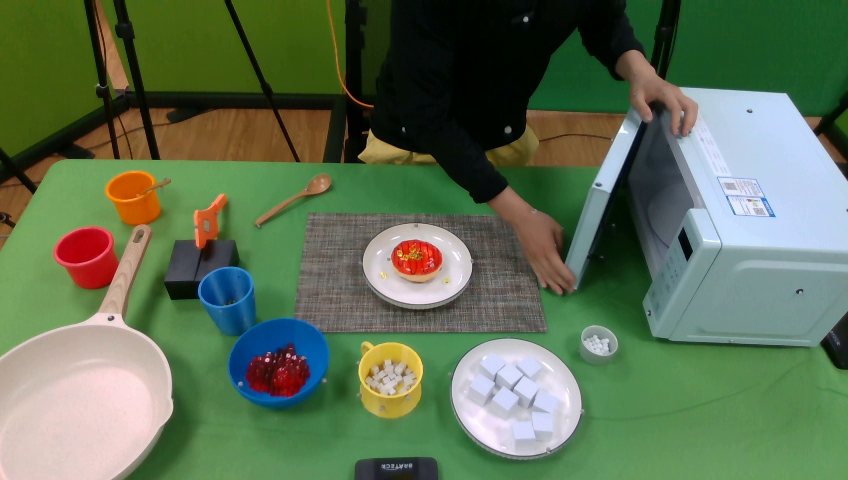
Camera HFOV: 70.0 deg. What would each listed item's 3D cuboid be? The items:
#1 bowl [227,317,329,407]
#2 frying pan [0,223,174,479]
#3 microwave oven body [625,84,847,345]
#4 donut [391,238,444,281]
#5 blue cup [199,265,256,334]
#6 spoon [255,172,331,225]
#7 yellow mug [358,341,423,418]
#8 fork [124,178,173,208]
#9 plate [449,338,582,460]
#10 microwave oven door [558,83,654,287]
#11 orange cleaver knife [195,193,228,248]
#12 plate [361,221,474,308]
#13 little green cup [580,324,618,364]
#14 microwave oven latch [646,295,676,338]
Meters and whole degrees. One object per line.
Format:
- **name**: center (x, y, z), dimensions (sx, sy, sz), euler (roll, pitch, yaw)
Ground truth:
- **bowl**: center (-0.222, 0.203, 0.947), dimensions (0.151, 0.077, 0.150), euler (2, 46, -2)
- **frying pan**: center (-0.505, 0.169, 0.941), dimensions (0.307, 0.103, 0.485), euler (5, 54, -1)
- **microwave oven body**: center (0.568, -0.054, 1.116), dimensions (0.326, 0.261, 0.439), euler (2, 46, -1)
- **donut**: center (-0.012, 0.035, 1.128), dimensions (0.099, 0.048, 0.098), euler (3, 43, -3)
- **blue cup**: center (-0.321, 0.106, 1.015), dimensions (0.093, 0.101, 0.092), euler (1, 48, -1)
- **spoon**: center (-0.272, -0.087, 1.257), dimensions (0.041, 0.022, 0.193), euler (44, 57, 14)
- **yellow mug**: center (-0.063, 0.210, 0.961), dimensions (0.100, 0.064, 0.130), euler (-29, 54, -28)
- **fork**: center (-0.525, -0.090, 1.154), dimensions (0.207, 0.019, 0.028), euler (-17, 27, 45)
- **plate**: center (0.141, 0.251, 0.956), dimensions (0.208, 0.039, 0.206), euler (2, 46, -2)
- **microwave oven door**: center (0.350, -0.111, 1.148), dimensions (0.039, 0.245, 0.355), euler (23, 49, 16)
- **orange cleaver knife**: center (-0.406, -0.041, 1.163), dimensions (0.012, 0.077, 0.210), euler (0, 18, -3)
- **plate**: center (-0.011, 0.049, 1.130), dimensions (0.209, 0.038, 0.208), euler (2, 46, -2)
- **little green cup**: center (0.295, 0.179, 1.032), dimensions (0.061, 0.039, 0.061), euler (2, 45, -1)
- **microwave oven latch**: center (0.412, 0.133, 1.060), dimensions (0.030, 0.029, 0.078), euler (4, 46, 1)
